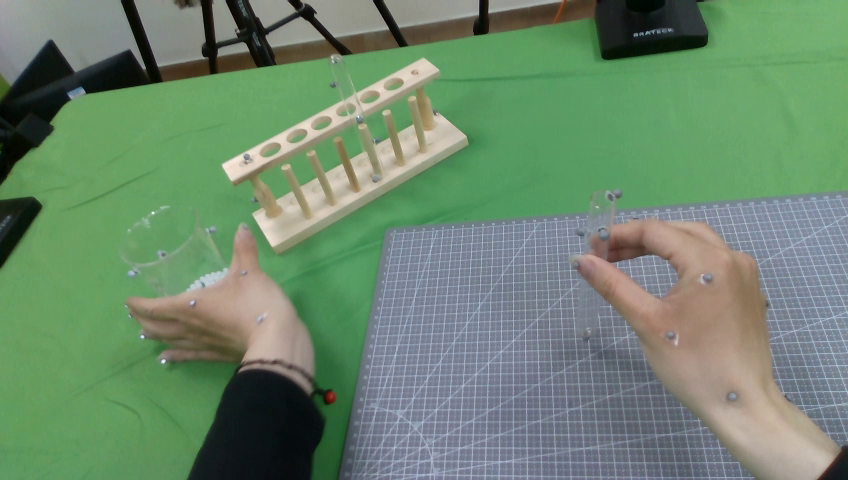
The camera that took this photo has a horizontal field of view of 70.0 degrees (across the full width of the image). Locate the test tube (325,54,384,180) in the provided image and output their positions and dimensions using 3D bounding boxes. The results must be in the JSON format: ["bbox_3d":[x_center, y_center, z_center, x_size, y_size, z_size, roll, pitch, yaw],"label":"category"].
[{"bbox_3d":[-0.067,-0.118,0.601,0.017,0.152,0.017,-9,47,10],"label":"test tube"}]

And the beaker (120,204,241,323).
[{"bbox_3d":[-0.226,0.025,0.574,0.083,0.101,0.074,31,63,36],"label":"beaker"}]

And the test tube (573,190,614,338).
[{"bbox_3d":[0.114,0.023,0.416,0.017,0.152,0.017,-4,49,6],"label":"test tube"}]

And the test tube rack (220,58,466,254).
[{"bbox_3d":[-0.079,-0.091,0.643,0.242,0.086,0.066,-31,49,-12],"label":"test tube rack"}]
